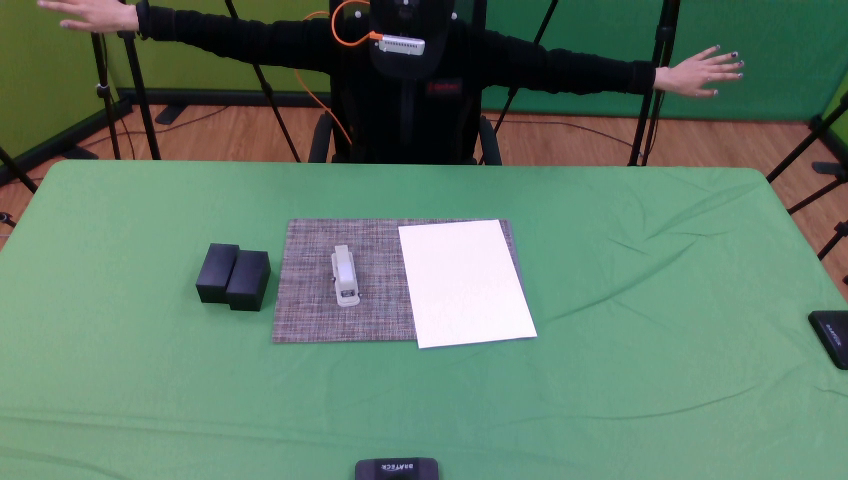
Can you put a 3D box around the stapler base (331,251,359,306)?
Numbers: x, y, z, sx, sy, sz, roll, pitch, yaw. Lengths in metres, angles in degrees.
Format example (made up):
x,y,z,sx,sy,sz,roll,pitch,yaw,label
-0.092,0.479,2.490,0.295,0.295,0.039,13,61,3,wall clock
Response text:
x,y,z,sx,sy,sz,roll,pitch,yaw,label
-0.147,0.064,1.120,0.041,0.024,0.129,-4,45,-13,stapler base

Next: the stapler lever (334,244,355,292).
x,y,z,sx,sy,sz,roll,pitch,yaw,label
-0.146,0.045,1.103,0.027,0.040,0.117,-4,45,-12,stapler lever
